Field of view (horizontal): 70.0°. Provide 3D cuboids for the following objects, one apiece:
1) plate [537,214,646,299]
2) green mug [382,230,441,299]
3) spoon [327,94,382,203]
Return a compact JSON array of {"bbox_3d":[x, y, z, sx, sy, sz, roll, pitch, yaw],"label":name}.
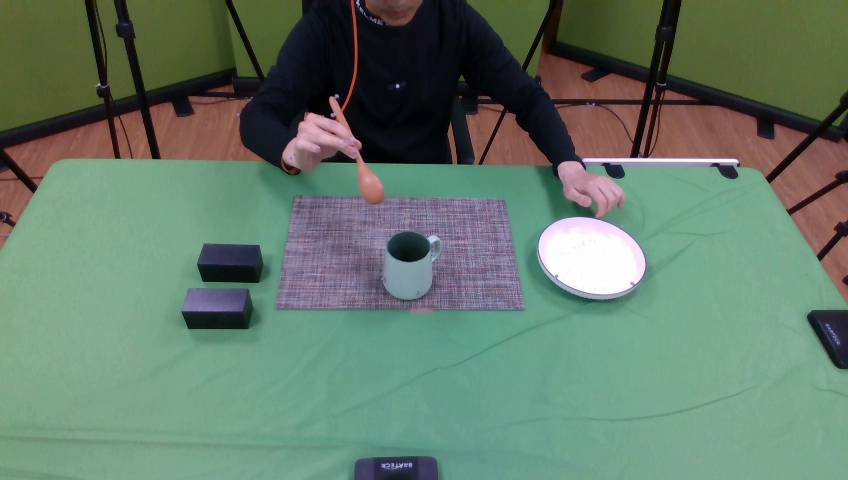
[{"bbox_3d":[0.321,0.035,1.176,0.209,0.038,0.208,2,47,-2],"label":"plate"},{"bbox_3d":[-0.017,0.037,1.097,0.125,0.105,0.092,-34,57,-31],"label":"green mug"},{"bbox_3d":[-0.117,-0.149,0.988,0.041,0.022,0.193,-26,82,21],"label":"spoon"}]
